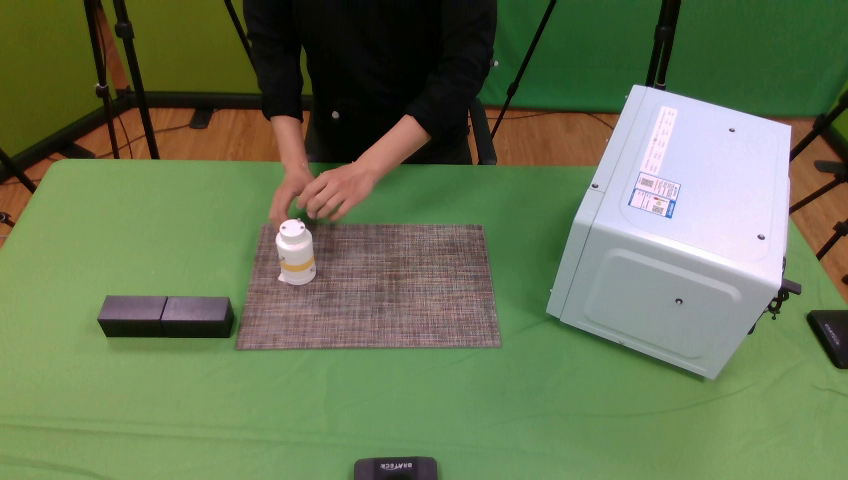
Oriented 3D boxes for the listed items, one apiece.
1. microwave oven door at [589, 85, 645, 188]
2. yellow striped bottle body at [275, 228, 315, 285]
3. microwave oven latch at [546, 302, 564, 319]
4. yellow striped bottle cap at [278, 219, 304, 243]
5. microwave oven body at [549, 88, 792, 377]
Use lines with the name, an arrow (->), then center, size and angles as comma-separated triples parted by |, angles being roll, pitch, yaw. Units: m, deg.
microwave oven door -> 0.341, -0.107, 1.149 | 0.039, 0.245, 0.354 | 20, 48, 15
yellow striped bottle body -> -0.231, 0.021, 1.085 | 0.063, 0.121, 0.062 | 2, 46, -2
microwave oven latch -> 0.242, 0.102, 1.081 | 0.030, 0.029, 0.079 | 22, 48, 17
yellow striped bottle cap -> -0.229, -0.016, 1.047 | 0.044, 0.019, 0.044 | 3, 45, -3
microwave oven body -> 0.456, -0.028, 1.088 | 0.325, 0.261, 0.440 | 20, 47, 16
